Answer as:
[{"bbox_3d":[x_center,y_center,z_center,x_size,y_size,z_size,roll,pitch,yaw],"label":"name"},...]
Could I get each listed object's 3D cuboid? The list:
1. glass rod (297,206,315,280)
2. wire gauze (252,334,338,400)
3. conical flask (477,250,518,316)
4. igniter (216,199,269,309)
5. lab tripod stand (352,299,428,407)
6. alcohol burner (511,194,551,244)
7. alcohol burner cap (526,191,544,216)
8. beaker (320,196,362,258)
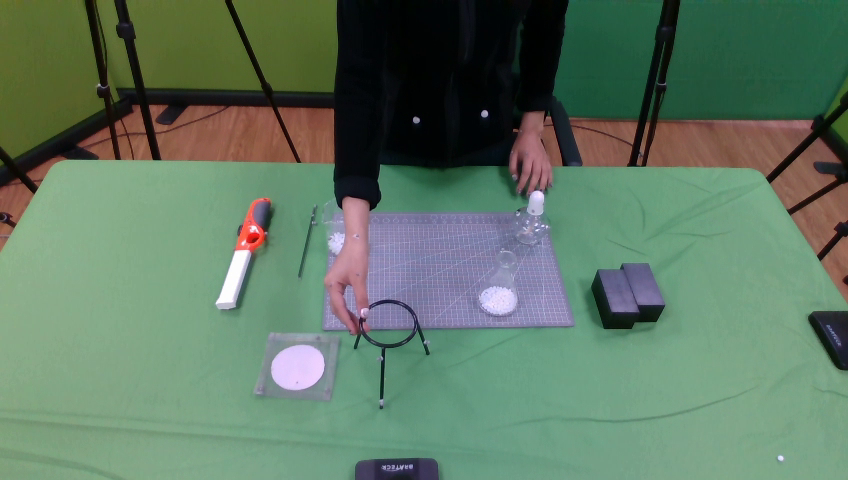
[{"bbox_3d":[-0.231,0.001,1.191,0.008,0.008,0.198,2,46,-1],"label":"glass rod"},{"bbox_3d":[-0.209,0.204,0.995,0.125,0.011,0.120,3,45,1],"label":"wire gauze"},{"bbox_3d":[0.137,0.072,1.067,0.075,0.122,0.075,2,46,-2],"label":"conical flask"},{"bbox_3d":[-0.341,0.017,1.153,0.057,0.025,0.275,-4,45,7],"label":"igniter"},{"bbox_3d":[-0.056,0.166,0.958,0.148,0.132,0.147,3,44,-2],"label":"lab tripod stand"},{"bbox_3d":[0.215,-0.048,1.196,0.078,0.119,0.077,4,46,-4],"label":"alcohol burner"},{"bbox_3d":[0.216,-0.073,1.170,0.034,0.048,0.033,0,42,1],"label":"alcohol burner cap"},{"bbox_3d":[-0.156,-0.020,1.150,0.084,0.101,0.073,-30,55,-28],"label":"beaker"}]
